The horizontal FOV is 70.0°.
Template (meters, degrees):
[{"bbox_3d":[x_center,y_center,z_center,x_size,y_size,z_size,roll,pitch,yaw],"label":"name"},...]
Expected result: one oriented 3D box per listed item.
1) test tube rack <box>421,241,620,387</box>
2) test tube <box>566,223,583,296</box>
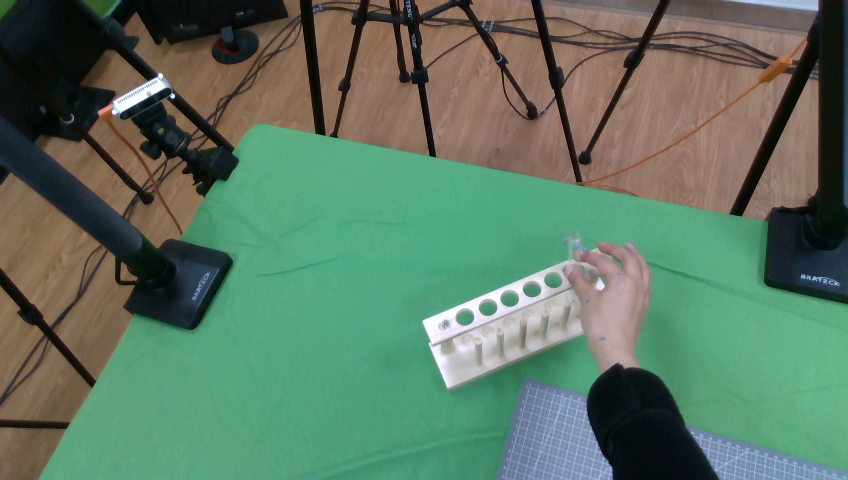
[{"bbox_3d":[0.124,0.093,0.748,0.242,0.086,0.066,-22,59,-6],"label":"test tube rack"},{"bbox_3d":[0.177,0.027,0.716,0.017,0.152,0.017,-5,56,9],"label":"test tube"}]
